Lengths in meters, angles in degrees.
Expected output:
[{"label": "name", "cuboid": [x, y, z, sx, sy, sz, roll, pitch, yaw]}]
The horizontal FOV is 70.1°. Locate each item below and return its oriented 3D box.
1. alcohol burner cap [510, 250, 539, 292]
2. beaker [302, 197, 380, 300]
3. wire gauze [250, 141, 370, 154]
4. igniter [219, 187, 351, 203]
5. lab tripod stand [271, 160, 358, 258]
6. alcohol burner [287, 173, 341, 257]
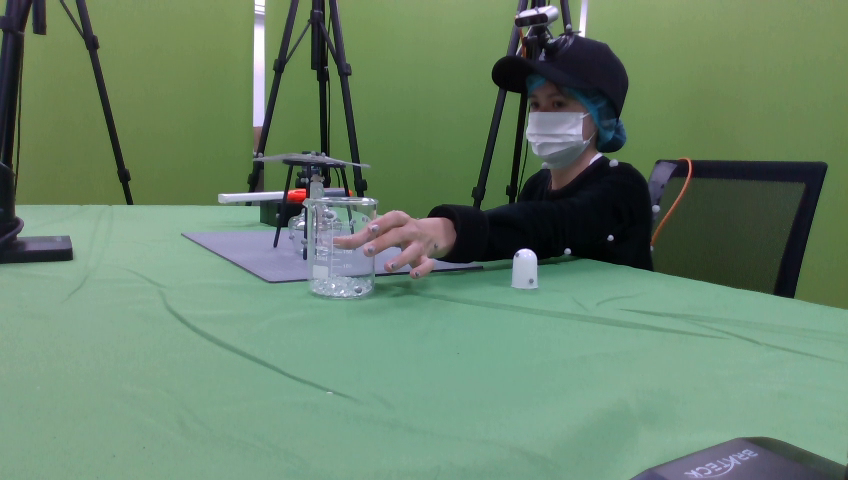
[{"label": "alcohol burner cap", "cuboid": [0.118, 0.036, 0.704, 0.034, 0.048, 0.034, 0, 7, 0]}, {"label": "beaker", "cuboid": [-0.089, 0.007, 0.625, 0.084, 0.100, 0.074, 4, 7, 16]}, {"label": "wire gauze", "cuboid": [-0.163, -0.131, 0.867, 0.124, 0.011, 0.122, -1, 8, 32]}, {"label": "igniter", "cuboid": [-0.280, -0.092, 1.254, 0.278, 0.025, 0.057, -6, 11, -34]}, {"label": "lab tripod stand", "cuboid": [-0.160, -0.048, 0.876, 0.148, 0.131, 0.148, 3, 5, 0]}, {"label": "alcohol burner", "cuboid": [-0.158, -0.037, 0.868, 0.078, 0.119, 0.078, 1, 6, 0]}]
